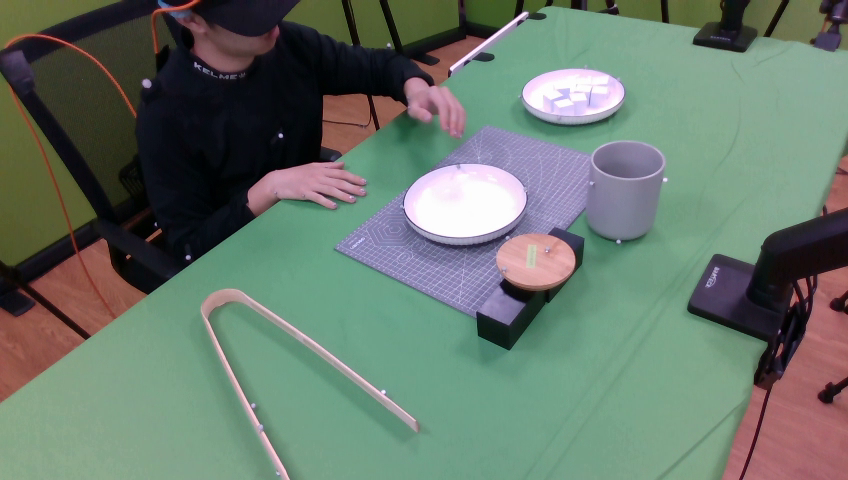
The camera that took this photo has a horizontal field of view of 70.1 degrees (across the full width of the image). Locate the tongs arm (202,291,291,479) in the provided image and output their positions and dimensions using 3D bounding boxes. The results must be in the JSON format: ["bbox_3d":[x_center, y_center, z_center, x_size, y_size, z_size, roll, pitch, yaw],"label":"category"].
[{"bbox_3d":[-0.216,0.187,0.772,0.051,0.026,0.381,-28,44,-24],"label":"tongs arm"}]

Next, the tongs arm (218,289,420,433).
[{"bbox_3d":[-0.153,0.150,0.811,0.384,0.028,0.028,26,53,33],"label":"tongs arm"}]

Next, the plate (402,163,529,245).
[{"bbox_3d":[0.069,-0.056,1.008,0.209,0.038,0.208,-4,40,4],"label":"plate"}]

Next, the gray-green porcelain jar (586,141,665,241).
[{"bbox_3d":[0.305,-0.070,0.927,0.106,0.127,0.105,-4,41,4],"label":"gray-green porcelain jar"}]

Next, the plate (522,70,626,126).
[{"bbox_3d":[0.308,-0.290,1.251,0.207,0.039,0.206,-4,40,4],"label":"plate"}]

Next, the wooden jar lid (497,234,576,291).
[{"bbox_3d":[0.154,0.032,0.834,0.108,0.021,0.108,-5,40,5],"label":"wooden jar lid"}]
